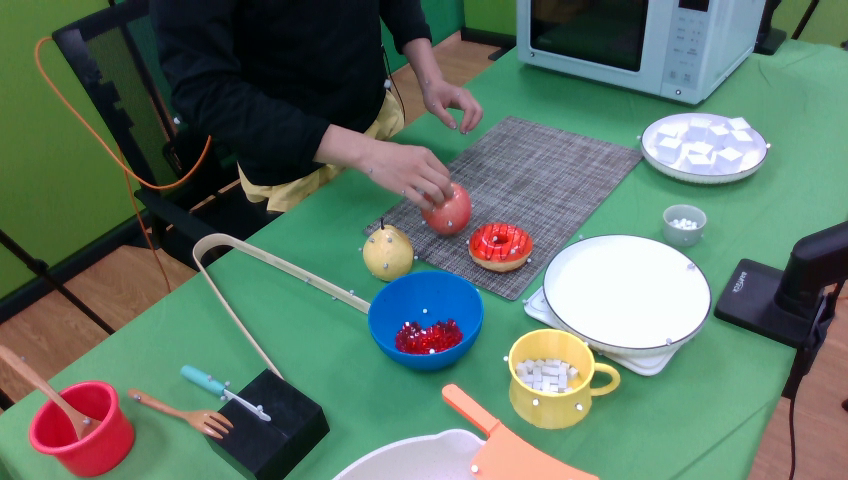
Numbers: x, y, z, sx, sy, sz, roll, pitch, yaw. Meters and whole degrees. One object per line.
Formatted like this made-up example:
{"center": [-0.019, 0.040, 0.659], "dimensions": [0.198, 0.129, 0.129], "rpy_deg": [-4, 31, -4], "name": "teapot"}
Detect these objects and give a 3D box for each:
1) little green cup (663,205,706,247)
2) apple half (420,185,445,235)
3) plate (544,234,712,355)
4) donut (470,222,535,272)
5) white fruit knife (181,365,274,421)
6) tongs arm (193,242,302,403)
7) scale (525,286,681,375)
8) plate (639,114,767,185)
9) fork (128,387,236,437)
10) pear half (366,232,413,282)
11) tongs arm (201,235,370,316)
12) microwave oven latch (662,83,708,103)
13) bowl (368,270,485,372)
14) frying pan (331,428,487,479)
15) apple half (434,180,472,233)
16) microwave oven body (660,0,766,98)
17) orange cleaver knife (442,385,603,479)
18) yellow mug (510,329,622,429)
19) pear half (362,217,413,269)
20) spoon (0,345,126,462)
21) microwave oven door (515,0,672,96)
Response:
{"center": [0.396, -0.020, 0.926], "dimensions": [0.061, 0.039, 0.061], "rpy_deg": [-4, 40, 4], "name": "little green cup"}
{"center": [0.010, -0.043, 0.954], "dimensions": [0.033, 0.081, 0.080], "rpy_deg": [-11, 40, -14], "name": "apple half"}
{"center": [0.262, 0.072, 0.792], "dimensions": [0.209, 0.038, 0.208], "rpy_deg": [-4, 41, 4], "name": "plate"}
{"center": [0.119, 0.009, 0.923], "dimensions": [0.099, 0.048, 0.098], "rpy_deg": [-4, 38, 3], "name": "donut"}
{"center": [-0.246, 0.188, 0.747], "dimensions": [0.205, 0.027, 0.016], "rpy_deg": [9, 41, 40], "name": "white fruit knife"}
{"center": [-0.268, 0.107, 0.883], "dimensions": [0.028, 0.028, 0.384], "rpy_deg": [-35, 46, -18], "name": "tongs arm"}
{"center": [0.254, 0.091, 0.821], "dimensions": [0.199, 0.032, 0.149], "rpy_deg": [27, 51, 35], "name": "scale"}
{"center": [0.489, -0.157, 1.074], "dimensions": [0.207, 0.039, 0.206], "rpy_deg": [-4, 40, 4], "name": "plate"}
{"center": [-0.305, 0.207, 0.744], "dimensions": [0.206, 0.019, 0.028], "rpy_deg": [3, 40, 36], "name": "fork"}
{"center": [-0.048, 0.031, 0.893], "dimensions": [0.071, 0.088, 0.031], "rpy_deg": [-16, 40, -13], "name": "pear half"}
{"center": [-0.209, 0.061, 0.924], "dimensions": [0.381, 0.026, 0.051], "rpy_deg": [23, 52, 33], "name": "tongs arm"}
{"center": [0.517, -0.296, 1.204], "dimensions": [0.078, 0.029, 0.030], "rpy_deg": [27, 52, 35], "name": "microwave oven latch"}
{"center": [0.007, 0.118, 0.791], "dimensions": [0.151, 0.077, 0.150], "rpy_deg": [-5, 40, 4], "name": "bowl"}
{"center": [-0.089, 0.306, 0.564], "dimensions": [0.487, 0.103, 0.306], "rpy_deg": [9, 41, 7], "name": "frying pan"}
{"center": [0.049, -0.054, 0.956], "dimensions": [0.053, 0.075, 0.080], "rpy_deg": [-13, 35, -4], "name": "apple half"}
{"center": [0.472, -0.513, 1.317], "dimensions": [0.438, 0.261, 0.327], "rpy_deg": [26, 51, 34], "name": "microwave oven body"}
{"center": [0.086, 0.219, 0.612], "dimensions": [0.209, 0.012, 0.077], "rpy_deg": [28, 49, 35], "name": "orange cleaver knife"}
{"center": [0.168, 0.164, 0.721], "dimensions": [0.130, 0.064, 0.099], "rpy_deg": [0, 40, 8], "name": "yellow mug"}
{"center": [-0.059, 0.002, 0.913], "dimensions": [0.076, 0.110, 0.055], "rpy_deg": [-14, 41, -13], "name": "pear half"}
{"center": [-0.434, 0.192, 0.720], "dimensions": [0.194, 0.021, 0.042], "rpy_deg": [47, 53, -7], "name": "spoon"}
{"center": [0.343, -0.455, 1.259], "dimensions": [0.353, 0.245, 0.039], "rpy_deg": [26, 51, 33], "name": "microwave oven door"}
